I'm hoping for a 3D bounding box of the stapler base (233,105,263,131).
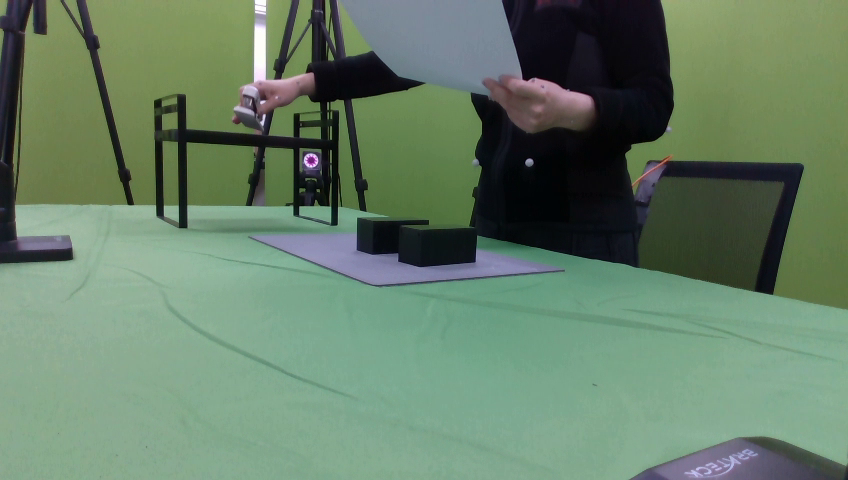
[{"bbox_3d":[-0.350,-0.251,1.216,0.041,0.024,0.130,17,-8,-5],"label":"stapler base"}]

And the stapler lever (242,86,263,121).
[{"bbox_3d":[-0.344,-0.275,1.221,0.027,0.040,0.118,17,-8,-4],"label":"stapler lever"}]
